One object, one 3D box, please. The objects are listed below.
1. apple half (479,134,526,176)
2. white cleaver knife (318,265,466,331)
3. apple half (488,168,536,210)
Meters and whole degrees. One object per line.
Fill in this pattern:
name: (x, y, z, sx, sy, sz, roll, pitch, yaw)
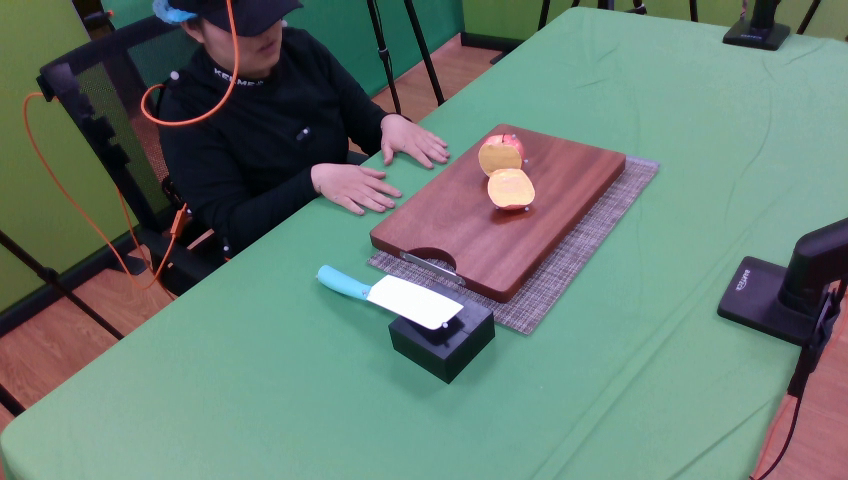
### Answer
apple half: (0.141, -0.149, 1.052, 0.080, 0.075, 0.053, 7, 39, 24)
white cleaver knife: (-0.056, 0.075, 0.871, 0.284, 0.021, 0.066, 17, 42, 43)
apple half: (0.142, -0.080, 0.995, 0.081, 0.033, 0.081, 1, 62, -2)
